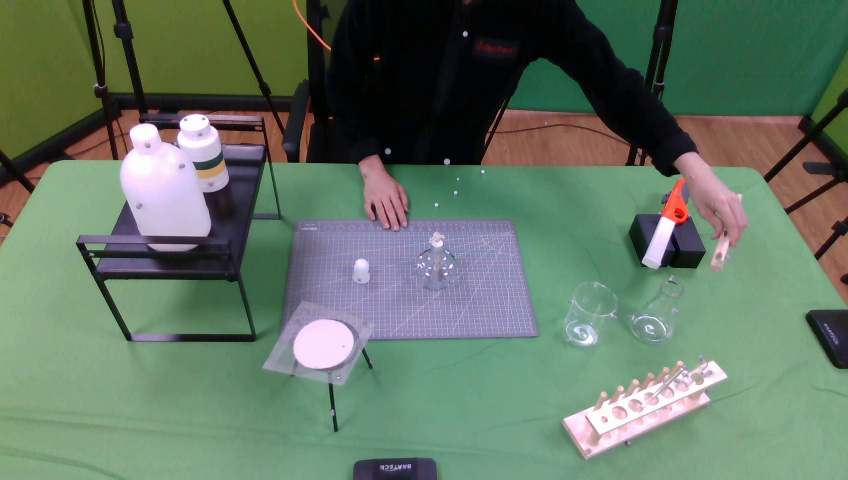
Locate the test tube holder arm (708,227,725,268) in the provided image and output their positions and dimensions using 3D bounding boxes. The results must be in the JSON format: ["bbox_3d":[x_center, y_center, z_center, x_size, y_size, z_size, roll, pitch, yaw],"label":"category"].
[{"bbox_3d":[0.470,0.011,0.968,0.010,0.015,0.087,16,50,30],"label":"test tube holder arm"}]

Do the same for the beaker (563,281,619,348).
[{"bbox_3d":[0.283,0.129,1.041,0.074,0.101,0.083,11,46,6],"label":"beaker"}]

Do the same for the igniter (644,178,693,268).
[{"bbox_3d":[0.488,-0.042,1.204,0.057,0.025,0.276,30,51,11],"label":"igniter"}]

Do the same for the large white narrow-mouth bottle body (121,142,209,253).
[{"bbox_3d":[-0.378,-0.077,0.875,0.102,0.195,0.101,3,46,-3],"label":"large white narrow-mouth bottle body"}]

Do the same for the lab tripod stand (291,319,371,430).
[{"bbox_3d":[-0.146,0.194,0.923,0.148,0.132,0.147,1,47,-1],"label":"lab tripod stand"}]

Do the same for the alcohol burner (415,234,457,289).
[{"bbox_3d":[0.022,0.033,1.099,0.078,0.120,0.077,1,47,0],"label":"alcohol burner"}]

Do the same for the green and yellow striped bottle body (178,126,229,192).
[{"bbox_3d":[-0.361,-0.142,0.989,0.063,0.120,0.063,2,46,-2],"label":"green and yellow striped bottle body"}]

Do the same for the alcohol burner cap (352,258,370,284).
[{"bbox_3d":[-0.117,0.055,1.118,0.034,0.048,0.033,1,46,-1],"label":"alcohol burner cap"}]

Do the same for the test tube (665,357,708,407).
[{"bbox_3d":[0.387,0.216,0.905,0.017,0.151,0.017,1,53,-1],"label":"test tube"}]

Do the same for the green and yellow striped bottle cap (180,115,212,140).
[{"bbox_3d":[-0.358,-0.177,0.951,0.045,0.020,0.045,1,43,-1],"label":"green and yellow striped bottle cap"}]

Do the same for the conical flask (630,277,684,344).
[{"bbox_3d":[0.408,0.117,1.045,0.075,0.122,0.075,2,46,-2],"label":"conical flask"}]

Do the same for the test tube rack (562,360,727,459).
[{"bbox_3d":[0.341,0.247,0.940,0.243,0.085,0.066,-16,49,-19],"label":"test tube rack"}]

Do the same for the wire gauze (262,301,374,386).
[{"bbox_3d":[-0.150,0.148,0.873,0.121,0.011,0.124,14,46,12],"label":"wire gauze"}]

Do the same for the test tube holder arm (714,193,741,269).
[{"bbox_3d":[0.497,-0.017,0.991,0.013,0.015,0.178,15,49,30],"label":"test tube holder arm"}]

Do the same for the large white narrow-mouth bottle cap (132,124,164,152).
[{"bbox_3d":[-0.370,-0.137,0.813,0.038,0.024,0.037,3,46,-3],"label":"large white narrow-mouth bottle cap"}]

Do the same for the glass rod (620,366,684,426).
[{"bbox_3d":[0.322,0.227,0.866,0.008,0.200,0.008,5,51,-7],"label":"glass rod"}]
